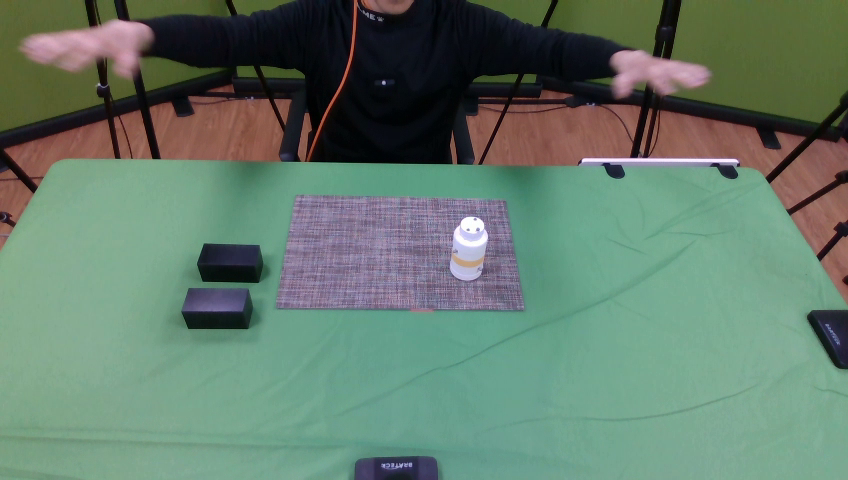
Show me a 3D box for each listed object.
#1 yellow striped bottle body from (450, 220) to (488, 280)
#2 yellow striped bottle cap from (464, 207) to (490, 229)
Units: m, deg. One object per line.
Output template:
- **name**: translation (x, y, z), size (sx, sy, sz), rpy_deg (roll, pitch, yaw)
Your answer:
- **yellow striped bottle body**: translation (0.083, 0.012, 1.117), size (0.063, 0.121, 0.062), rpy_deg (2, 46, -2)
- **yellow striped bottle cap**: translation (0.092, -0.039, 1.064), size (0.044, 0.019, 0.044), rpy_deg (5, 39, -4)
